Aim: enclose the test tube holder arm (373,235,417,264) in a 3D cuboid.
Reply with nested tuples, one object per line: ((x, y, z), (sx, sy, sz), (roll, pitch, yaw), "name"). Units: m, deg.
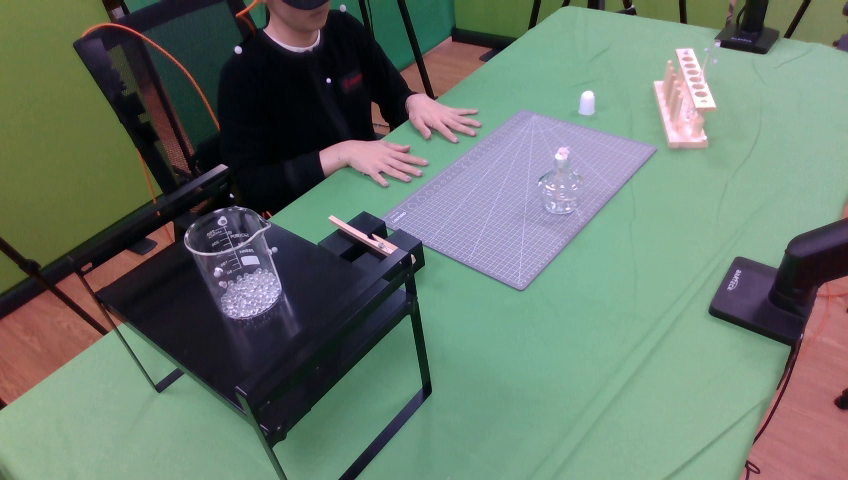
((-0.047, 0.014, 0.895), (0.087, 0.015, 0.010), (25, 53, 33), "test tube holder arm")

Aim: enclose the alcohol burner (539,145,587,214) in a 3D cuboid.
((0.226, -0.102, 0.986), (0.078, 0.119, 0.077), (-6, 41, 6), "alcohol burner")

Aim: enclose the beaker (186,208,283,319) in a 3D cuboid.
((-0.192, 0.026, 0.637), (0.084, 0.101, 0.073), (-13, 41, -7), "beaker")

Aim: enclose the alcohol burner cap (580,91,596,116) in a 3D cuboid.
((0.338, -0.283, 1.238), (0.034, 0.048, 0.033), (-4, 41, 4), "alcohol burner cap")

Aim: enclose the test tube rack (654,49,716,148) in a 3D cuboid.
((0.502, -0.281, 1.176), (0.066, 0.085, 0.241), (1, 41, 11), "test tube rack")

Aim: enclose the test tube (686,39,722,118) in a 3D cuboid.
((0.511, -0.292, 1.107), (0.017, 0.150, 0.017), (3, 39, -2), "test tube")

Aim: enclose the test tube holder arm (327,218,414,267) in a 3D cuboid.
((-0.085, 0.002, 0.917), (0.177, 0.015, 0.013), (23, 52, 32), "test tube holder arm")
